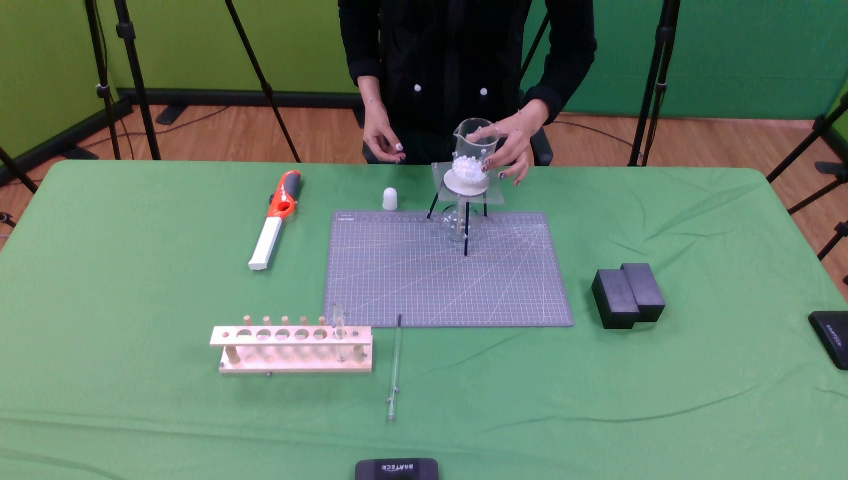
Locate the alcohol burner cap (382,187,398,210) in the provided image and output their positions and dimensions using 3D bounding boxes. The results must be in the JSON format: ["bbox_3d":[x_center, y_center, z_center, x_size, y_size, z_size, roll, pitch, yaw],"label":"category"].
[{"bbox_3d":[-0.072,-0.090,1.266,0.034,0.048,0.033,2,46,-2],"label":"alcohol burner cap"}]

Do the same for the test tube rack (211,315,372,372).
[{"bbox_3d":[-0.208,0.163,0.982,0.242,0.085,0.066,1,46,-4],"label":"test tube rack"}]

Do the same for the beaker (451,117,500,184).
[{"bbox_3d":[0.087,-0.157,1.089,0.084,0.101,0.073,0,50,-9],"label":"beaker"}]

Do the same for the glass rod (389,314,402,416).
[{"bbox_3d":[-0.048,0.203,1.007,0.008,0.008,0.198,4,45,0],"label":"glass rod"}]

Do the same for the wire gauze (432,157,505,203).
[{"bbox_3d":[0.081,-0.112,1.137,0.125,0.011,0.120,-2,48,-6],"label":"wire gauze"}]

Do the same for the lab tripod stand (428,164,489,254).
[{"bbox_3d":[0.078,-0.068,1.188,0.148,0.132,0.147,3,47,-3],"label":"lab tripod stand"}]

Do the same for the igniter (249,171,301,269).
[{"bbox_3d":[-0.297,-0.049,1.220,0.057,0.025,0.275,-1,45,9],"label":"igniter"}]

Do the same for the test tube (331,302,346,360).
[{"bbox_3d":[-0.132,0.144,0.938,0.017,0.151,0.017,2,49,-3],"label":"test tube"}]

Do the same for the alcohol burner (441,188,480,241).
[{"bbox_3d":[0.073,-0.055,1.189,0.078,0.120,0.077,1,48,-1],"label":"alcohol burner"}]
